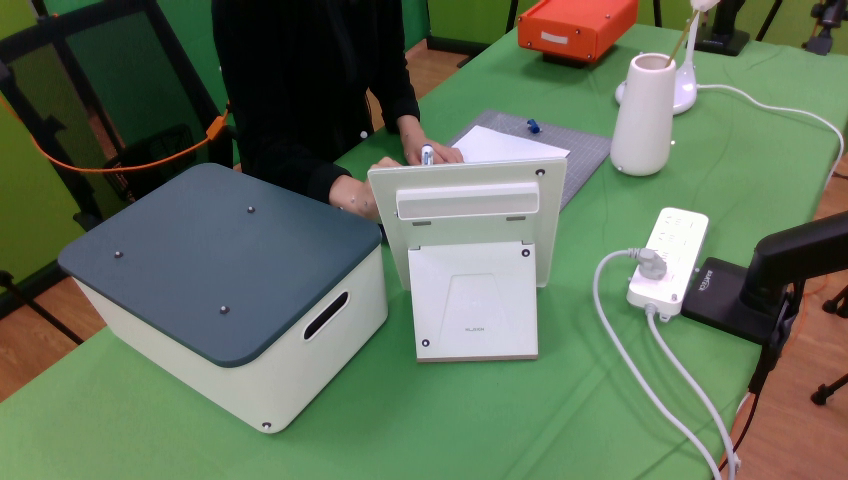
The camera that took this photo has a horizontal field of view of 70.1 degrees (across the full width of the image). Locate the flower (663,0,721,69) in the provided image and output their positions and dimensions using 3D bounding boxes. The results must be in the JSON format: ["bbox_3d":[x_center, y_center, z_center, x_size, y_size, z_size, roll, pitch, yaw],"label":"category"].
[{"bbox_3d":[0.379,-0.261,0.965,0.044,0.362,0.038,20,53,5],"label":"flower"}]

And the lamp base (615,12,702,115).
[{"bbox_3d":[0.484,-0.363,1.211,0.180,0.181,0.159,-15,41,-14],"label":"lamp base"}]

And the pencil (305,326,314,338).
[{"bbox_3d":[-0.187,0.106,0.880,0.012,0.012,0.192,-27,41,-22],"label":"pencil"}]

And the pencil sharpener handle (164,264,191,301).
[{"bbox_3d":[-0.354,0.055,0.866,0.036,0.068,0.030,-17,39,-29],"label":"pencil sharpener handle"}]

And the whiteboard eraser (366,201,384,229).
[{"bbox_3d":[-0.038,-0.038,1.006,0.112,0.042,0.055,17,47,25],"label":"whiteboard eraser"}]

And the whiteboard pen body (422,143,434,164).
[{"bbox_3d":[0.004,-0.072,0.798,0.017,0.017,0.140,-2,56,5],"label":"whiteboard pen body"}]

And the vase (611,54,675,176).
[{"bbox_3d":[0.377,-0.209,1.031,0.098,0.201,0.097,-3,40,3],"label":"vase"}]

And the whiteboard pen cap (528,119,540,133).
[{"bbox_3d":[0.221,-0.229,1.211,0.018,0.018,0.033,-13,40,-7],"label":"whiteboard pen cap"}]

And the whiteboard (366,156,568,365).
[{"bbox_3d":[0.059,0.050,0.738,0.217,0.307,0.143,-2,60,6],"label":"whiteboard"}]

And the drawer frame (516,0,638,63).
[{"bbox_3d":[0.355,-0.508,1.410,0.200,0.083,0.214,23,51,32],"label":"drawer frame"}]

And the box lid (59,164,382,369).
[{"bbox_3d":[-0.263,0.010,0.777,0.368,0.015,0.264,20,47,29],"label":"box lid"}]

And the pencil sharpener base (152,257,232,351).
[{"bbox_3d":[-0.322,0.088,0.841,0.061,0.107,0.076,-27,44,-20],"label":"pencil sharpener base"}]

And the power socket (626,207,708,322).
[{"bbox_3d":[0.359,0.025,0.886,0.072,0.033,0.227,16,46,26],"label":"power socket"}]

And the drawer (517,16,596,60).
[{"bbox_3d":[0.352,-0.506,1.405,0.193,0.073,0.212,23,49,32],"label":"drawer"}]

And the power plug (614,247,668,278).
[{"bbox_3d":[0.306,0.031,0.851,0.072,0.053,0.035,24,49,33],"label":"power plug"}]

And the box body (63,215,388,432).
[{"bbox_3d":[-0.256,0.065,0.827,0.361,0.161,0.255,20,48,29],"label":"box body"}]
